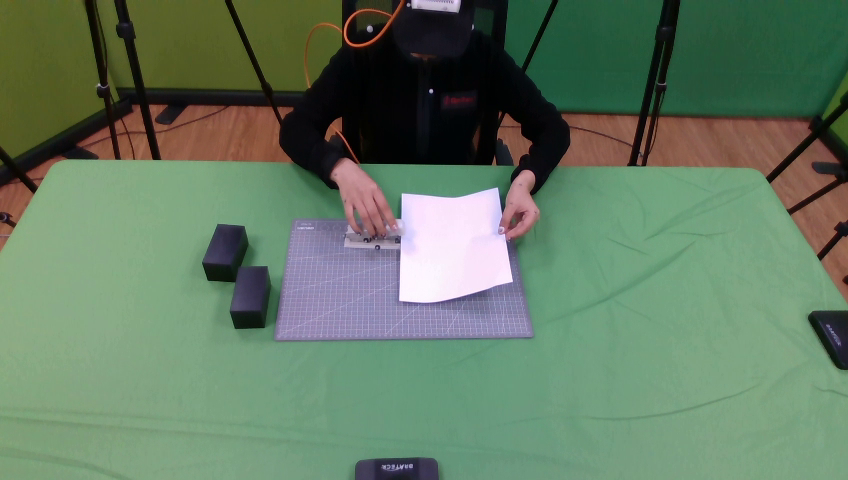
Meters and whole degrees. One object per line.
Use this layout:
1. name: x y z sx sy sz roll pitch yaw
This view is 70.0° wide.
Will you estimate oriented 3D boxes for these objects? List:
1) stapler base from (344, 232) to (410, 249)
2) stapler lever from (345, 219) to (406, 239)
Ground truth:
1. stapler base: -0.093 -0.005 1.190 0.130 0.024 0.041 1 45 0
2. stapler lever: -0.093 -0.021 1.172 0.118 0.040 0.026 2 45 -1
